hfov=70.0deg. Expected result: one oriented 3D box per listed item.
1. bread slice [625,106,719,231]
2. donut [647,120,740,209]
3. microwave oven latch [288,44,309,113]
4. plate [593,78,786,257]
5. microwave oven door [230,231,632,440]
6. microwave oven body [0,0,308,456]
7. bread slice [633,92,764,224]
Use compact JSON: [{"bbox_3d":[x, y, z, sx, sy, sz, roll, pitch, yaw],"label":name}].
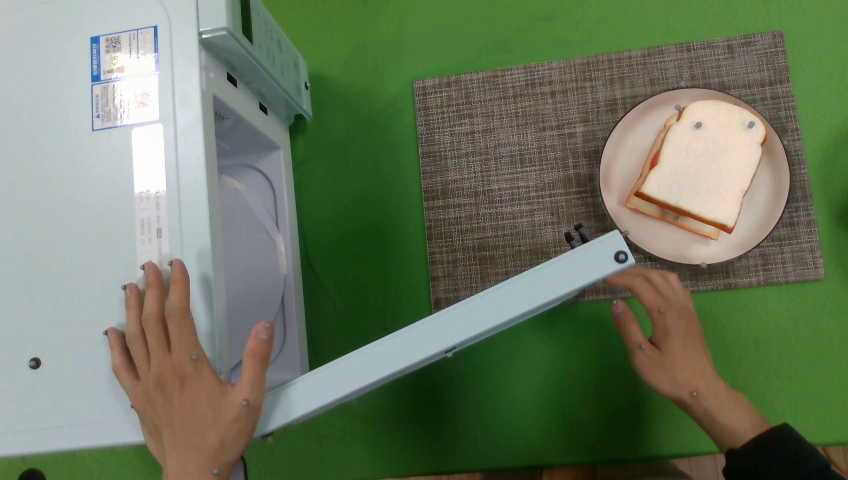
[{"bbox_3d":[0.303,-0.088,0.700,0.106,0.018,0.134,18,86,10],"label":"bread slice"},{"bbox_3d":[0.298,-0.083,0.673,0.099,0.048,0.099,-1,85,9],"label":"donut"},{"bbox_3d":[-0.165,-0.203,0.763,0.030,0.029,0.079,-8,83,6],"label":"microwave oven latch"},{"bbox_3d":[0.300,-0.081,0.700,0.207,0.039,0.207,-1,83,7],"label":"plate"},{"bbox_3d":[0.017,0.092,0.601,0.356,0.245,0.039,-26,79,4],"label":"microwave oven door"},{"bbox_3d":[-0.303,-0.021,0.662,0.326,0.261,0.440,-8,83,6],"label":"microwave oven body"},{"bbox_3d":[0.296,-0.095,0.644,0.104,0.019,0.131,23,85,16],"label":"bread slice"}]
